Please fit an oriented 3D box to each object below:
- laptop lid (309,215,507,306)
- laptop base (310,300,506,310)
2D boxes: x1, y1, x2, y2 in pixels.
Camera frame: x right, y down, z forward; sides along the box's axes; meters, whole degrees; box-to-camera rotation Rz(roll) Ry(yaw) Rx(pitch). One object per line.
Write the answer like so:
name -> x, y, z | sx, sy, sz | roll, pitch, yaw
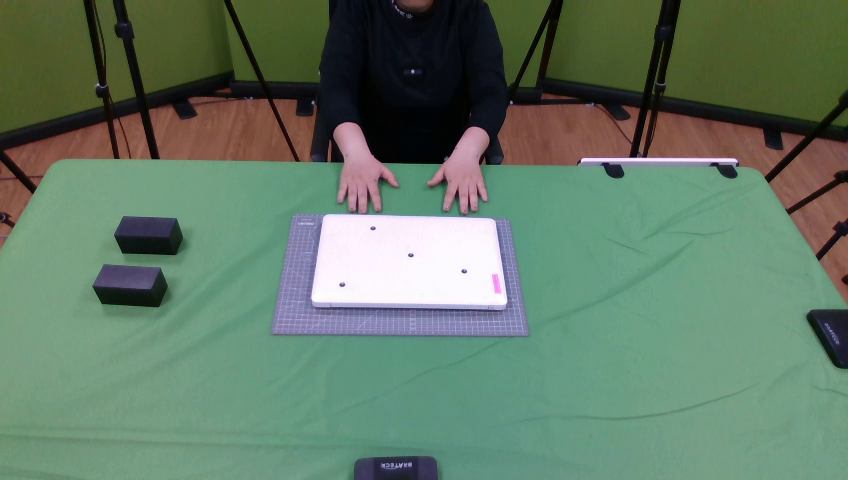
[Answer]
laptop lid -> -0.028, 0.033, 1.149 | 0.357, 0.013, 0.240 | 3, 44, -2
laptop base -> -0.029, 0.043, 1.156 | 0.354, 0.023, 0.234 | 1, 42, -3
